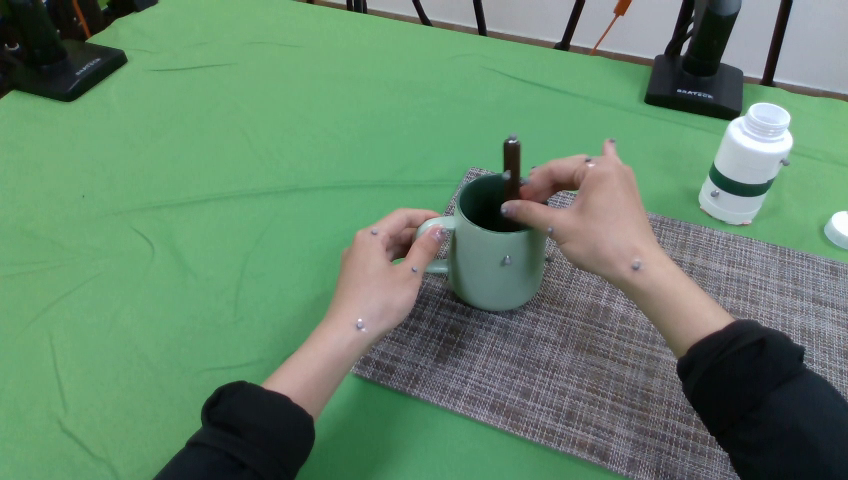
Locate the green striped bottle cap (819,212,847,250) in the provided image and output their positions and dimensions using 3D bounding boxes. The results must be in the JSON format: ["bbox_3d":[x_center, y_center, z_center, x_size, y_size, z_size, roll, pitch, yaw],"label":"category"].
[{"bbox_3d":[0.440,-0.009,0.631,0.044,0.020,0.044,1,42,0],"label":"green striped bottle cap"}]

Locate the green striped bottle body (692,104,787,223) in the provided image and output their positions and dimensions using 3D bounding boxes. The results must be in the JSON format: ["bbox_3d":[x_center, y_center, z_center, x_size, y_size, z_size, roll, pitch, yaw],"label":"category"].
[{"bbox_3d":[0.328,-0.080,0.627,0.063,0.120,0.062,0,46,0],"label":"green striped bottle body"}]

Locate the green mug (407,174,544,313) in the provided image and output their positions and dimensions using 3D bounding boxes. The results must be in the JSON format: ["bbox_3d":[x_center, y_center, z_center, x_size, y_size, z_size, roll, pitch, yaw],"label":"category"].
[{"bbox_3d":[0.047,0.007,0.550,0.125,0.106,0.091,-6,47,-5],"label":"green mug"}]

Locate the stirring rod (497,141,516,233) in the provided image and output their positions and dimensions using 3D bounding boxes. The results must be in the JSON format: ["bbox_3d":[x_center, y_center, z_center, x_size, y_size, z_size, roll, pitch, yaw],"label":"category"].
[{"bbox_3d":[0.071,-0.019,0.516,0.014,0.178,0.006,9,56,15],"label":"stirring rod"}]
